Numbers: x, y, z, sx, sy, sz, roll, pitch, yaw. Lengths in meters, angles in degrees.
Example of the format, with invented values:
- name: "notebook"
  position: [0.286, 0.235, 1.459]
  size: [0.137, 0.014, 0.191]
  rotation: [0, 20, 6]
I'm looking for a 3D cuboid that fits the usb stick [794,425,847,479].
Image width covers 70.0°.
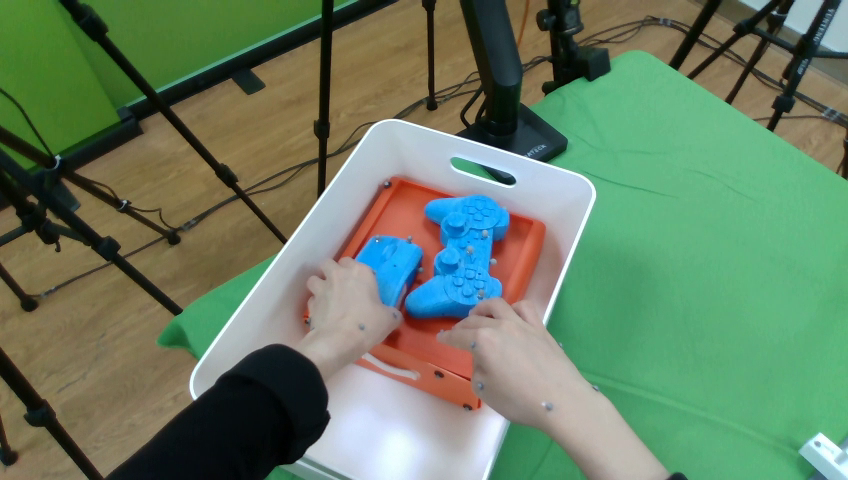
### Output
- name: "usb stick"
  position: [0.392, 0.210, 0.583]
  size: [0.021, 0.027, 0.058]
  rotation: [-29, 62, -23]

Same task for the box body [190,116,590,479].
- name: "box body"
  position: [-0.011, 0.074, 0.617]
  size: [0.253, 0.162, 0.362]
  rotation: [19, 57, 14]

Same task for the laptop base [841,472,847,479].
- name: "laptop base"
  position: [0.459, 0.376, 0.480]
  size: [0.235, 0.023, 0.351]
  rotation: [-37, 62, -18]

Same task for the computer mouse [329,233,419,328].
- name: "computer mouse"
  position: [-0.050, 0.036, 0.628]
  size: [0.062, 0.041, 0.116]
  rotation: [14, 50, 13]

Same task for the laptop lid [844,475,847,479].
- name: "laptop lid"
  position: [0.457, 0.370, 0.469]
  size: [0.241, 0.013, 0.353]
  rotation: [-35, 61, -18]

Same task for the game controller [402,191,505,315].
- name: "game controller"
  position: [0.034, 0.009, 0.641]
  size: [0.097, 0.052, 0.154]
  rotation: [9, 55, 3]
